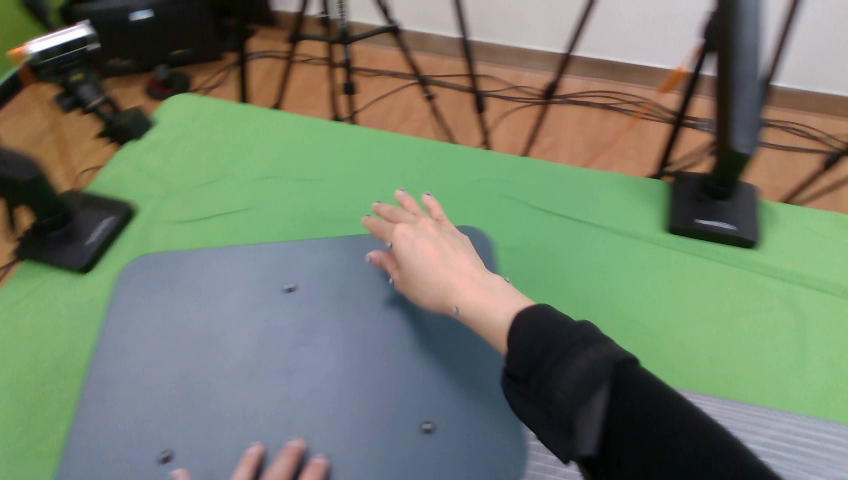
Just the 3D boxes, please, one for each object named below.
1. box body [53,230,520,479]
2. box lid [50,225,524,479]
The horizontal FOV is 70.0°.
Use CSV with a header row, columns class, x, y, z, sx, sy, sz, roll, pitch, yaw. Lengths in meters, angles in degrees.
class,x,y,z,sx,sy,sz,roll,pitch,yaw
box body,-0.111,0.150,0.588,0.364,0.162,0.251,-5,51,-3
box lid,-0.111,0.103,0.530,0.372,0.015,0.260,-6,52,-3
